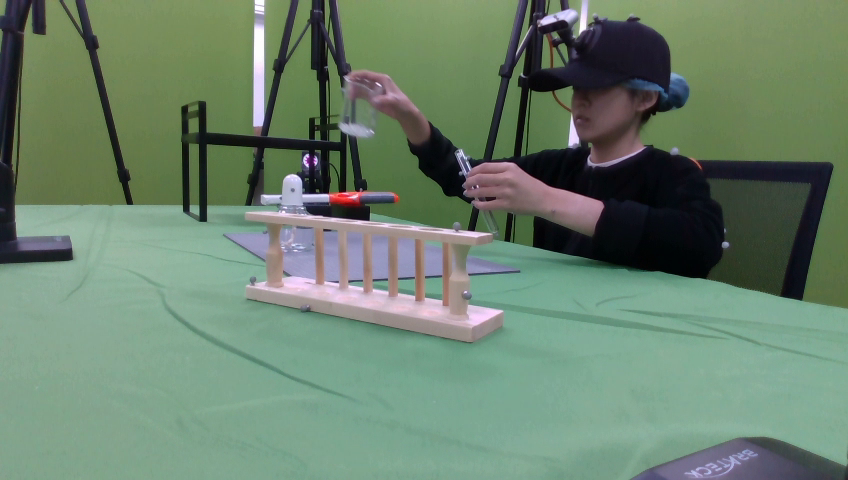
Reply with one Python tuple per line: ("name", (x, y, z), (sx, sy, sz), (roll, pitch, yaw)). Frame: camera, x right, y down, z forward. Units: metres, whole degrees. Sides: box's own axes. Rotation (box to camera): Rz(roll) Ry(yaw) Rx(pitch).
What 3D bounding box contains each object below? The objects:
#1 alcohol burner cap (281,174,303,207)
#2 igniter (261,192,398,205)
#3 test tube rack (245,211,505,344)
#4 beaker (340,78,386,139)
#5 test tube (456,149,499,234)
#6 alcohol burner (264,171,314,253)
("alcohol burner cap", (-0.194, -0.072, 0.884), (0.034, 0.048, 0.034), (0, 5, 0))
("igniter", (-0.185, -0.083, 1.217), (0.278, 0.025, 0.057), (-2, 12, -25))
("test tube rack", (-0.049, 0.025, 0.547), (0.241, 0.085, 0.067), (7, 8, 29))
("beaker", (-0.116, -0.247, 1.149), (0.074, 0.100, 0.083), (-2, 28, -35))
("test tube", (0.084, -0.077, 0.950), (0.017, 0.150, 0.017), (-21, -15, -6))
("alcohol burner", (-0.194, -0.042, 0.888), (0.078, 0.119, 0.078), (3, 5, 0))
